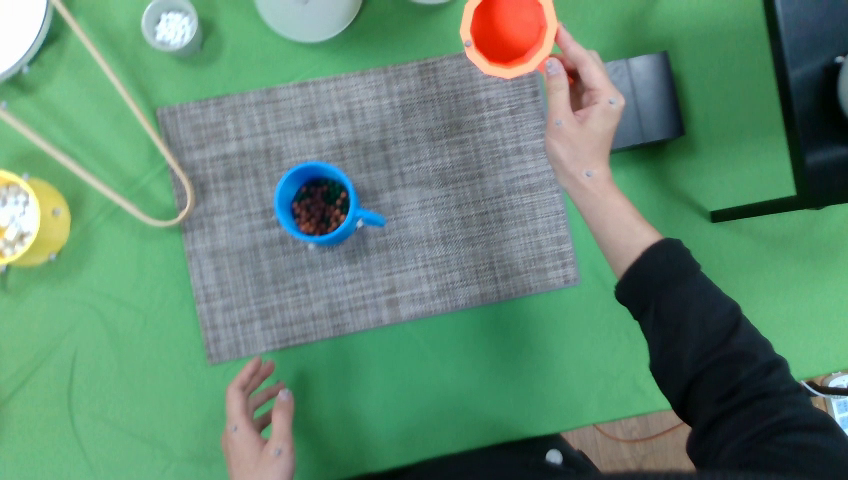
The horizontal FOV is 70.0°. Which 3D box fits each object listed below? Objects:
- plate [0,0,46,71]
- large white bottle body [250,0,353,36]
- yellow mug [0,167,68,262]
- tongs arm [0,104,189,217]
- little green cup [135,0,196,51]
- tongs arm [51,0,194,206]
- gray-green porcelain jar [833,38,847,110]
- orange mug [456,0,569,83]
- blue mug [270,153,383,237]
[{"bbox_3d":[-0.527,-0.275,0.678,0.208,0.039,0.207,0,90,-4],"label":"plate"},{"bbox_3d":[-0.140,-0.308,0.632,0.131,0.184,0.130,0,89,-4],"label":"large white bottle body"},{"bbox_3d":[-0.467,-0.015,0.666,0.100,0.064,0.131,27,89,-4],"label":"yellow mug"},{"bbox_3d":[-0.433,-0.144,0.664,0.386,0.026,0.050,40,84,-10],"label":"tongs arm"},{"bbox_3d":[-0.293,-0.248,0.694,0.061,0.038,0.061,0,90,-5],"label":"little green cup"},{"bbox_3d":[-0.374,-0.204,0.672,0.028,0.027,0.388,-37,99,-12],"label":"tongs arm"},{"bbox_3d":[0.436,-0.157,0.521,0.106,0.126,0.106,0,89,-3],"label":"gray-green porcelain jar"},{"bbox_3d":[0.089,-0.203,0.587,0.126,0.100,0.083,41,110,-7],"label":"orange mug"},{"bbox_3d":[-0.102,-0.042,0.668,0.117,0.106,0.082,14,88,-4],"label":"blue mug"}]
